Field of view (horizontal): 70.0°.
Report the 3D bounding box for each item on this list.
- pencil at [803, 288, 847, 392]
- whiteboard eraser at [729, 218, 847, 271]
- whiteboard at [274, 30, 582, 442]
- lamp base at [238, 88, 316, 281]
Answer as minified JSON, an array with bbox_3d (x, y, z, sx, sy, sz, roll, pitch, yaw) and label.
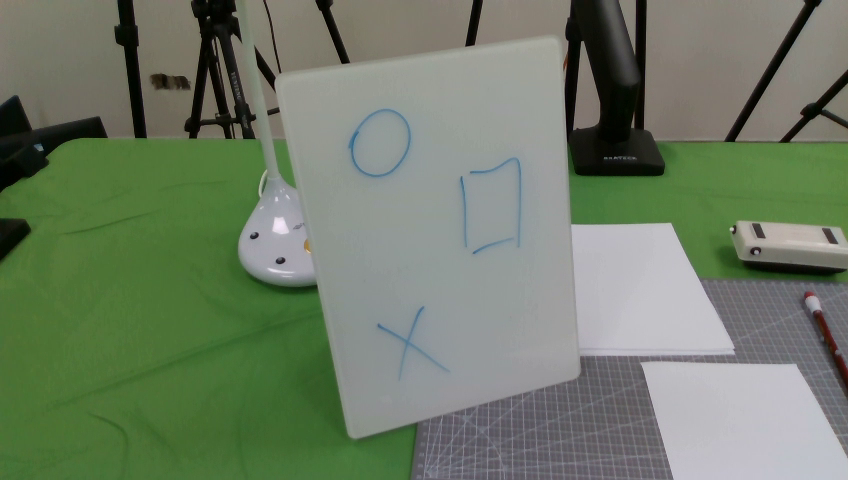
[{"bbox_3d":[0.380,0.113,0.554,0.012,0.012,0.192,4,40,9],"label":"pencil"},{"bbox_3d":[0.403,0.005,0.670,0.112,0.042,0.055,5,39,10],"label":"whiteboard eraser"},{"bbox_3d":[0.005,-0.013,0.547,0.217,0.307,0.142,-12,19,-10],"label":"whiteboard"},{"bbox_3d":[-0.152,-0.071,0.686,0.161,0.182,0.177,-31,43,-32],"label":"lamp base"}]
